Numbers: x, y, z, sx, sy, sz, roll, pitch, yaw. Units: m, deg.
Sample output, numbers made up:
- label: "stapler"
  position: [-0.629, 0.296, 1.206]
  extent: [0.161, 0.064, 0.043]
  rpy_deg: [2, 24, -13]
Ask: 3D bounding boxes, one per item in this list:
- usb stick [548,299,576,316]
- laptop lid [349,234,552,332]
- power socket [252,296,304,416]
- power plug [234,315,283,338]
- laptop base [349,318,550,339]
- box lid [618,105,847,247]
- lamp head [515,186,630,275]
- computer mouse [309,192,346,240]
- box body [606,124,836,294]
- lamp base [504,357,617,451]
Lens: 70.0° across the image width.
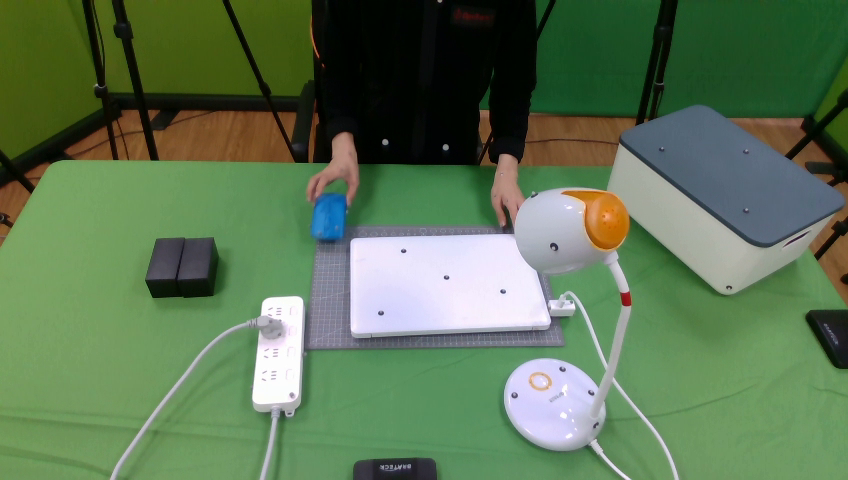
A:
- label: "usb stick"
  position: [0.239, 0.121, 1.084]
  extent: [0.059, 0.027, 0.021]
  rpy_deg: [-1, 51, -1]
- label: "laptop lid"
  position: [0.040, 0.071, 1.118]
  extent: [0.357, 0.013, 0.240]
  rpy_deg: [0, 44, -5]
- label: "power socket"
  position: [-0.238, 0.181, 0.997]
  extent: [0.072, 0.033, 0.225]
  rpy_deg: [-3, 47, -5]
- label: "power plug"
  position: [-0.269, 0.143, 1.000]
  extent: [0.072, 0.053, 0.035]
  rpy_deg: [4, 47, 3]
- label: "laptop base"
  position: [0.039, 0.081, 1.124]
  extent: [0.355, 0.023, 0.234]
  rpy_deg: [-2, 43, -6]
- label: "box lid"
  position: [0.587, -0.138, 1.175]
  extent: [0.263, 0.015, 0.369]
  rpy_deg: [-22, 51, -22]
- label: "lamp head"
  position: [0.188, -0.013, 0.728]
  extent: [0.112, 0.112, 0.122]
  rpy_deg: [-25, 9, -25]
- label: "computer mouse"
  position: [-0.188, -0.051, 1.193]
  extent: [0.063, 0.041, 0.116]
  rpy_deg: [5, 51, -3]
- label: "box body"
  position: [0.584, -0.088, 1.230]
  extent: [0.254, 0.161, 0.361]
  rpy_deg: [-22, 52, -23]
- label: "lamp base"
  position: [0.220, 0.211, 0.903]
  extent: [0.160, 0.181, 0.178]
  rpy_deg: [-33, 59, -30]
